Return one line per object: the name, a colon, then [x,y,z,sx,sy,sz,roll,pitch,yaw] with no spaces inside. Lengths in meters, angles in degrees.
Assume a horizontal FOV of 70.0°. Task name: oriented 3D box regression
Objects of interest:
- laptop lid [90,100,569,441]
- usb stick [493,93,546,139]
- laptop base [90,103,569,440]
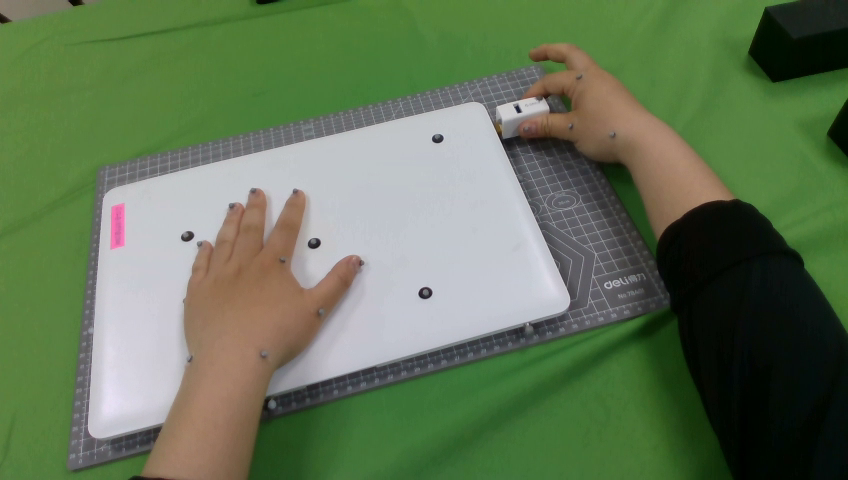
laptop lid: [-0.089,0.004,0.489,0.357,0.013,0.239,-13,57,-3]
usb stick: [0.080,-0.110,0.549,0.059,0.027,0.021,-19,50,0]
laptop base: [-0.088,0.008,0.499,0.354,0.023,0.233,-14,58,-5]
